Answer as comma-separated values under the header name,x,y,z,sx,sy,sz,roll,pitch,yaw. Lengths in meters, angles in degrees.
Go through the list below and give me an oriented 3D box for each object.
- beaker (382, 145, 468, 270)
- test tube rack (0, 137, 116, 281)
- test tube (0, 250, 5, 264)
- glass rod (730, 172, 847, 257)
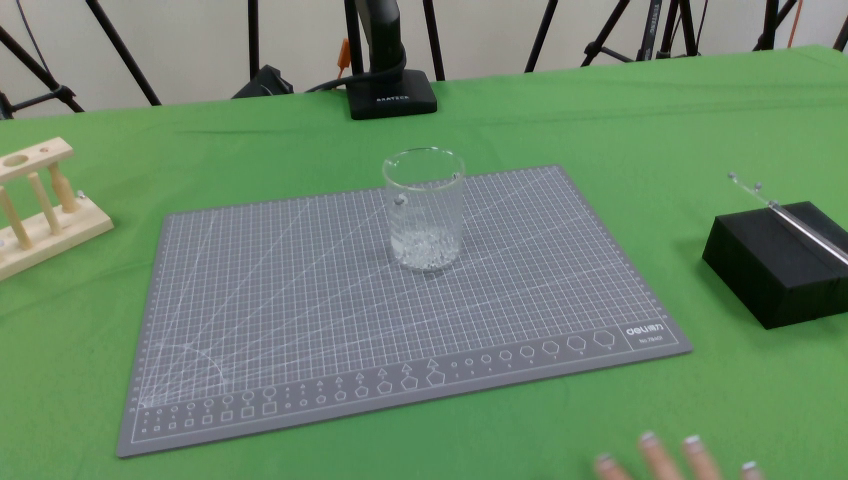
name,x,y,z,sx,sy,sz,roll,pitch,yaw
beaker,-0.001,-0.029,0.569,0.083,0.101,0.074,26,47,30
test tube rack,-0.432,-0.004,0.562,0.066,0.086,0.242,31,49,33
test tube,-0.408,-0.038,0.532,0.017,0.151,0.017,1,38,0
glass rod,0.344,-0.010,0.533,0.008,0.008,0.197,-15,41,-16
